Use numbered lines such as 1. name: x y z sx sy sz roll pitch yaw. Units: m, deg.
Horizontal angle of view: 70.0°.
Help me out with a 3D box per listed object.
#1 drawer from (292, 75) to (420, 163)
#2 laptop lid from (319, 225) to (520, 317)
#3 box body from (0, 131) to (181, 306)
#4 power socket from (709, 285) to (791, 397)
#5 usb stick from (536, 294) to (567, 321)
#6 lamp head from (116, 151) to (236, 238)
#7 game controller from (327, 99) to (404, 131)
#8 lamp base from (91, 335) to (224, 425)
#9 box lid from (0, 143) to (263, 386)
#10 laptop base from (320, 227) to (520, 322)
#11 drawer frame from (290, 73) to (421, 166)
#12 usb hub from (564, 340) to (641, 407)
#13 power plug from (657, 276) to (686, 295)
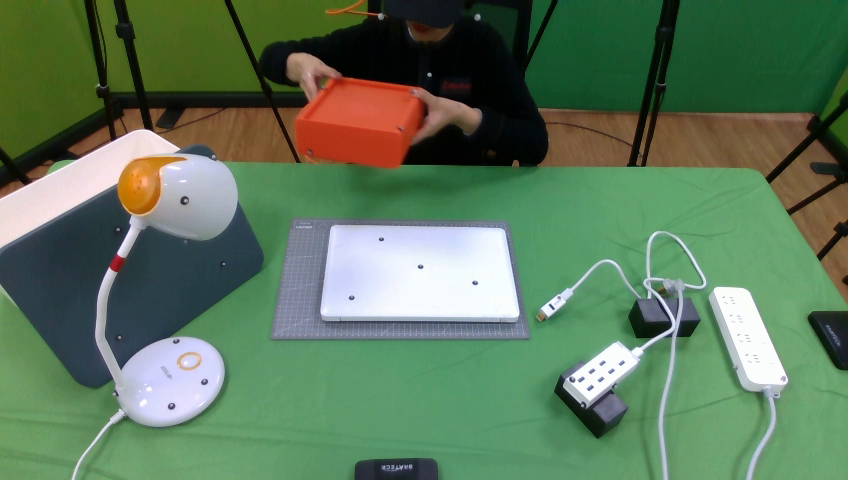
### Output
1. drawer: -0.126 -0.239 1.183 0.194 0.073 0.211 10 39 8
2. laptop lid: -0.008 0.052 1.131 0.357 0.013 0.240 2 43 -2
3. box body: -0.550 -0.007 1.068 0.253 0.161 0.363 30 51 23
4. power socket: 0.567 0.168 1.064 0.072 0.033 0.225 2 46 0
5. usb stick: 0.226 0.123 1.083 0.059 0.027 0.021 -37 78 -8
6. lamp head: -0.315 -0.057 0.747 0.112 0.112 0.123 26 10 20
7. game controller: -0.120 -0.255 1.224 0.155 0.051 0.097 9 11 4
8. lamp base: -0.401 0.170 0.892 0.160 0.181 0.179 30 53 23
9. box lid: -0.444 0.032 0.979 0.015 0.264 0.371 13 42 41
10. laptop base: -0.009 0.062 1.138 0.354 0.023 0.234 1 42 -3
11. drawer frame: -0.125 -0.240 1.178 0.201 0.083 0.212 9 38 7
12. usb hub: 0.278 0.205 0.944 0.125 0.025 0.049 -27 52 -28
13. power plug: 0.450 0.087 1.113 0.073 0.052 0.035 -13 72 -55
